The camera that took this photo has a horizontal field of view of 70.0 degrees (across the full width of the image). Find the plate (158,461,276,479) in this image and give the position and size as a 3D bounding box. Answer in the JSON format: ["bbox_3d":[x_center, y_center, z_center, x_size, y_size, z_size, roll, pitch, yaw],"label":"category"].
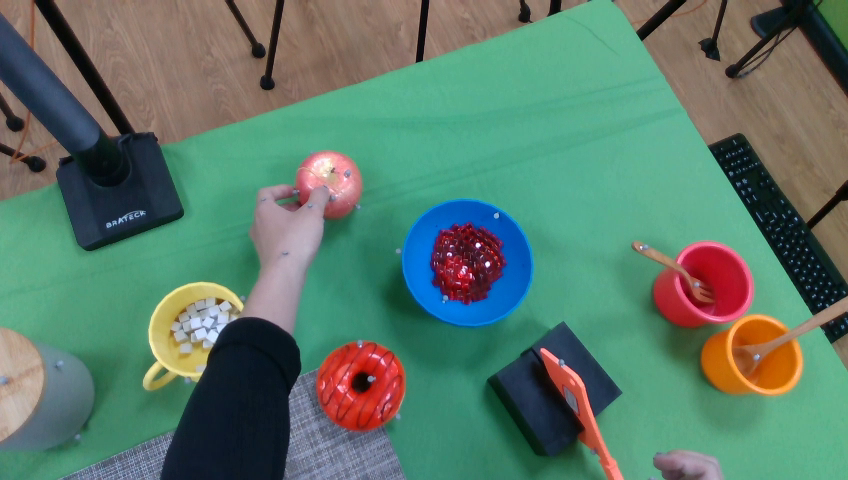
[{"bbox_3d":[-0.210,0.328,0.599,0.208,0.039,0.206,2,72,-6],"label":"plate"}]

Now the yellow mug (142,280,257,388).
[{"bbox_3d":[-0.249,0.110,0.655,0.099,0.064,0.130,42,72,9],"label":"yellow mug"}]

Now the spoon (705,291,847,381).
[{"bbox_3d":[0.411,0.106,0.690,0.022,0.194,0.041,-7,62,-56],"label":"spoon"}]

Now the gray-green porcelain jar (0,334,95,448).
[{"bbox_3d":[-0.396,0.149,0.593,0.106,0.127,0.105,2,71,-6],"label":"gray-green porcelain jar"}]

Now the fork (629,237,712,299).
[{"bbox_3d":[0.289,0.033,0.701,0.209,0.018,0.028,26,62,-43],"label":"fork"}]

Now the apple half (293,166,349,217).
[{"bbox_3d":[-0.128,-0.047,0.715,0.081,0.081,0.032,32,66,5],"label":"apple half"}]

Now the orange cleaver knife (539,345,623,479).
[{"bbox_3d":[0.178,0.207,0.664,0.012,0.076,0.212,-30,107,-13],"label":"orange cleaver knife"}]

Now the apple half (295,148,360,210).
[{"bbox_3d":[-0.109,-0.077,0.731,0.080,0.075,0.053,31,66,8],"label":"apple half"}]

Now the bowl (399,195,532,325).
[{"bbox_3d":[0.043,0.032,0.709,0.151,0.077,0.150,2,72,-6],"label":"bowl"}]

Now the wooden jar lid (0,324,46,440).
[{"bbox_3d":[-0.390,0.128,0.535,0.108,0.021,0.107,2,70,-4],"label":"wooden jar lid"}]

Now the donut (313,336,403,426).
[{"bbox_3d":[-0.072,0.155,0.669,0.099,0.048,0.098,2,72,-6],"label":"donut"}]
